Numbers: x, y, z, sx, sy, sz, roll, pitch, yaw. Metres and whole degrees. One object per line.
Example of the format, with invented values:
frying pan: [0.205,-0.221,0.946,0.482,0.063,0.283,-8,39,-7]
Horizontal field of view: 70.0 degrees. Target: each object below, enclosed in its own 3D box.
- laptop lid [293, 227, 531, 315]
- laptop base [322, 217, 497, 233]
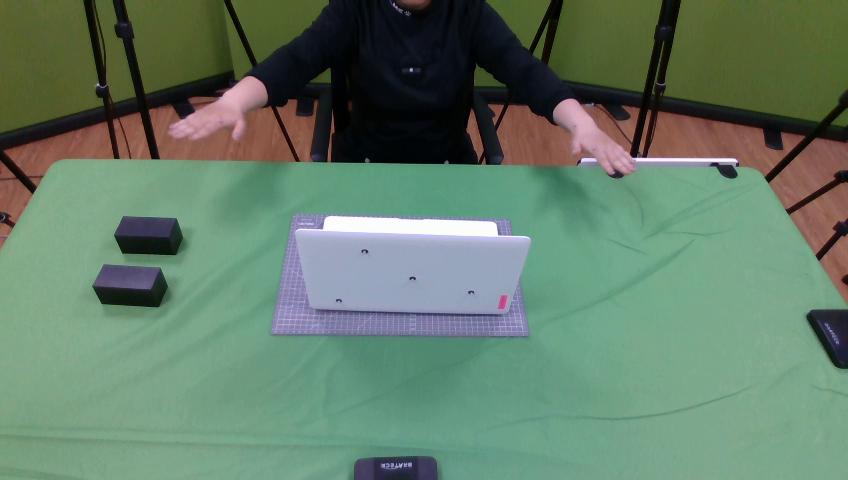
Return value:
laptop lid: [-0.021,0.058,0.975,0.357,0.243,0.013,3,53,-4]
laptop base: [-0.028,0.045,1.154,0.354,0.023,0.234,2,43,-3]
